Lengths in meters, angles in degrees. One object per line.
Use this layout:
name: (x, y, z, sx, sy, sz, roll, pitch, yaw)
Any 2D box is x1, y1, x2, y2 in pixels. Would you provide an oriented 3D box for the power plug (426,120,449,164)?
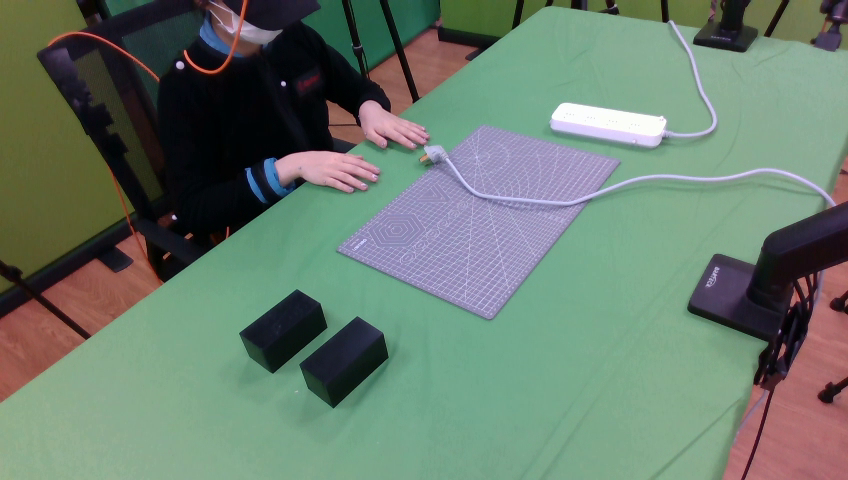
power plug: (0.034, -0.181, 1.142, 0.053, 0.072, 0.035, 32, 26, -17)

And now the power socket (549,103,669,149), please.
power socket: (0.353, -0.222, 1.169, 0.225, 0.033, 0.072, 17, 47, 25)
